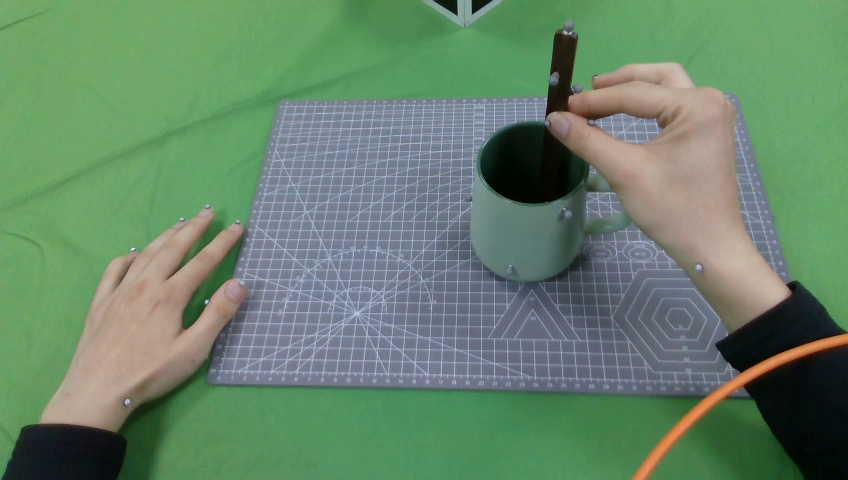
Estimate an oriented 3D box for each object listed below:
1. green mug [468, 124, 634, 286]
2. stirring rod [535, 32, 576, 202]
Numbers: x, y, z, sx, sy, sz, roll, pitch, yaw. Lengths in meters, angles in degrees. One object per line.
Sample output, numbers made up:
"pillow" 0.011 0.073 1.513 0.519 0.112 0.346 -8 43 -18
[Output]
"green mug" 0.096 -0.024 0.465 0.125 0.106 0.091 2 58 6
"stirring rod" 0.088 -0.074 0.416 0.014 0.177 0.006 20 66 16
